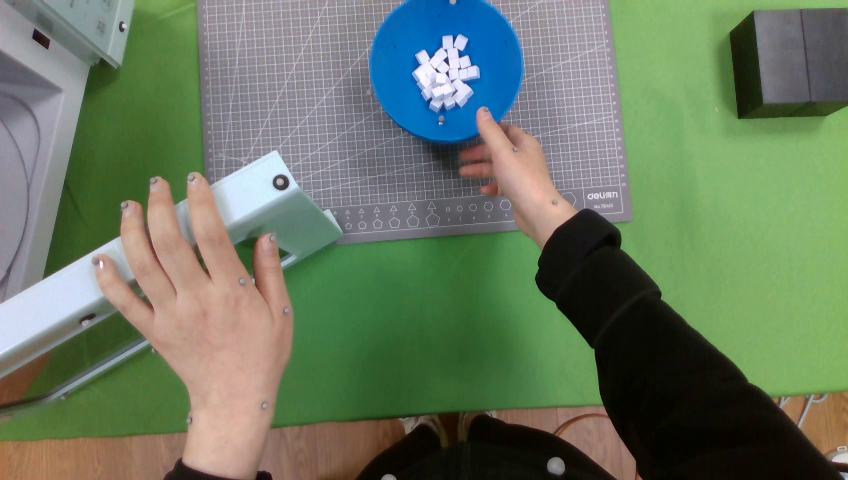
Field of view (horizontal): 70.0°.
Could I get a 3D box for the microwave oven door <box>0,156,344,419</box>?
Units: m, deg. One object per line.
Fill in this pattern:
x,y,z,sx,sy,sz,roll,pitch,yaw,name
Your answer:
-0.241,0.053,0.496,0.356,0.244,0.039,-30,84,-4,microwave oven door

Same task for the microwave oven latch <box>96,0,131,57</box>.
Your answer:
-0.324,-0.233,0.624,0.030,0.029,0.079,11,85,-1,microwave oven latch

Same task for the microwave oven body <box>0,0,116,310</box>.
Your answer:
-0.498,-0.094,0.510,0.326,0.260,0.440,9,85,-1,microwave oven body

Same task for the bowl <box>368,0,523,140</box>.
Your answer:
0.020,-0.167,0.620,0.151,0.077,0.151,0,85,-1,bowl
